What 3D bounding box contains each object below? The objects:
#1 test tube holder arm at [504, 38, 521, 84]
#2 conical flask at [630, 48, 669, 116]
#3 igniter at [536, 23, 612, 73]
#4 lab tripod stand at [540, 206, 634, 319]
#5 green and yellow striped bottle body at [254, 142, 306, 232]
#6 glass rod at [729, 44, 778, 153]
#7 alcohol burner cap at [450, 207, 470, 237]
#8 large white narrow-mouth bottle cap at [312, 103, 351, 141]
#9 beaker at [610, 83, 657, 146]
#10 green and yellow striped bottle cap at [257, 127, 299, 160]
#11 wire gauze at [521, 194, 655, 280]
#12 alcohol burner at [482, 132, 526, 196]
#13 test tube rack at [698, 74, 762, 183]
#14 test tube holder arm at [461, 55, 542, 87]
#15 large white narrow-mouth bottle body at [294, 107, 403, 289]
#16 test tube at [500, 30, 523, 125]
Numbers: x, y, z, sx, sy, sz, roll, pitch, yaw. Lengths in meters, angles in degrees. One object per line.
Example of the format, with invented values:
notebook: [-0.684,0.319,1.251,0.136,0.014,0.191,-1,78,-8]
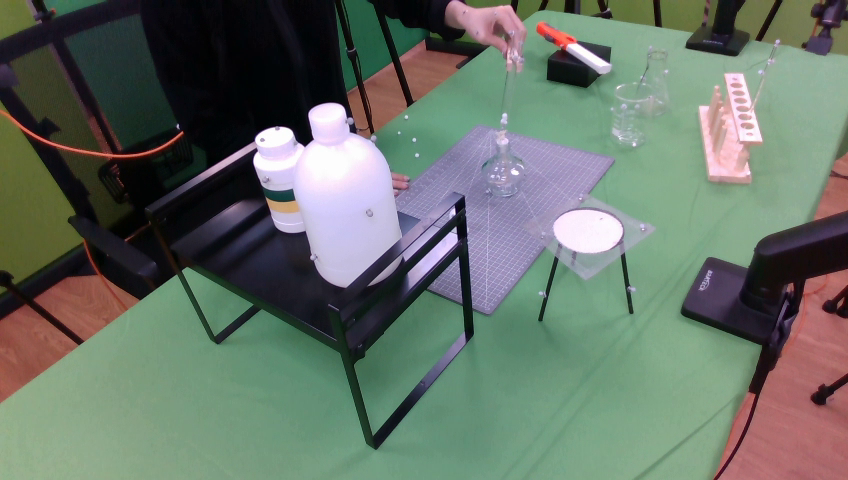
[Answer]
test tube holder arm: [0.143,-0.285,0.969,0.010,0.088,0.015,20,67,29]
conical flask: [0.457,-0.317,1.205,0.075,0.122,0.075,-4,40,4]
igniter: [0.330,-0.439,1.366,0.057,0.025,0.274,-12,40,-20]
lab tripod stand: [0.218,0.034,0.821,0.148,0.132,0.147,-4,42,4]
green and yellow striped bottle body: [-0.165,-0.073,0.732,0.063,0.120,0.063,-4,41,4]
glass rod: [0.554,-0.233,1.020,0.008,0.200,0.008,2,39,-1]
alcohol burner cap: [0.057,-0.032,0.987,0.034,0.048,0.033,-4,41,4]
large white narrow-mouth bottle cap: [-0.089,-0.113,0.580,0.038,0.024,0.037,-4,39,3]
beaker: [0.388,-0.235,1.137,0.074,0.101,0.083,-31,45,-26]
green and yellow striped bottle cap: [-0.169,-0.112,0.698,0.045,0.020,0.045,-5,40,5]
wire gauze: [0.207,-0.012,0.772,0.122,0.011,0.124,-28,44,-20]
alcohol burner: [0.137,-0.136,1.042,0.078,0.119,0.077,-4,43,4]
test tube rack: [0.547,-0.208,1.095,0.066,0.085,0.242,5,42,15]
test tube holder arm: [0.124,-0.279,1.005,0.177,0.013,0.015,0,57,51]
large white narrow-mouth bottle body: [-0.082,-0.047,0.634,0.102,0.195,0.101,-4,39,4]
test tube: [0.138,-0.255,0.959,0.017,0.150,0.017,4,30,-2]
